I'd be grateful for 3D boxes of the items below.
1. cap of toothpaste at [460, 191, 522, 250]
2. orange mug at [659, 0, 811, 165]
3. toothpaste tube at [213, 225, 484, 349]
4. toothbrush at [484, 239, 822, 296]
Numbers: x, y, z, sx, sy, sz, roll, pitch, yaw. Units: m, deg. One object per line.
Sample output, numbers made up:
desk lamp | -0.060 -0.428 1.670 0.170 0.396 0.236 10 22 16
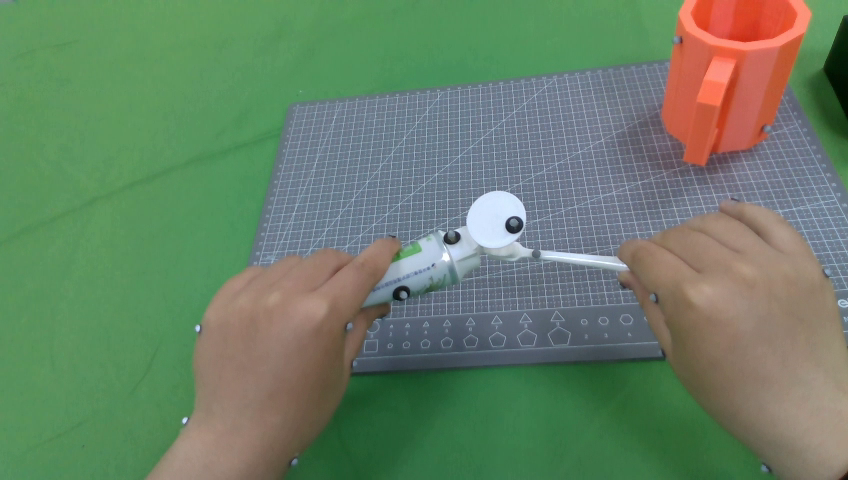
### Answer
cap of toothpaste | 0.039 -0.010 0.348 0.037 0.011 0.037 -7 69 20
orange mug | 0.223 -0.120 0.454 0.083 0.102 0.125 19 54 25
toothpaste tube | -0.041 0.030 0.362 0.165 0.055 0.034 -21 86 -2
toothbrush | 0.118 0.013 0.340 0.181 0.017 0.014 7 78 26
